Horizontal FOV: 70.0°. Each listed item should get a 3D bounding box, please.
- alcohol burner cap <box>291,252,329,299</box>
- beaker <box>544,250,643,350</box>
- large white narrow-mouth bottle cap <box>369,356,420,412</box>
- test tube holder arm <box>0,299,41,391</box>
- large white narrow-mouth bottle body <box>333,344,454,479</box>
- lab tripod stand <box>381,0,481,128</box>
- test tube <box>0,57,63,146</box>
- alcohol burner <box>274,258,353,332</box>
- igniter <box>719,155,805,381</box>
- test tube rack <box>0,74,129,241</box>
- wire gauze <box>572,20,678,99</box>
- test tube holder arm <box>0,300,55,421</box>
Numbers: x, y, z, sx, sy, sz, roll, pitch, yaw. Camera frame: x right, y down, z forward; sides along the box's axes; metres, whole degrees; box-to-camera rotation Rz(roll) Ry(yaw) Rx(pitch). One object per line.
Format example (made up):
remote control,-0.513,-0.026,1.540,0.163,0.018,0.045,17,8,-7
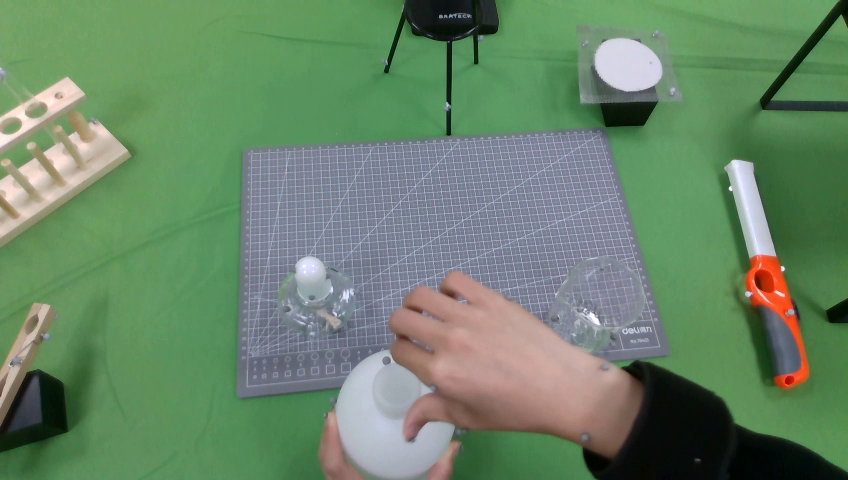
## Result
alcohol burner cap,-0.107,0.031,0.560,0.034,0.048,0.033,0,59,0
beaker,0.162,0.065,0.609,0.084,0.101,0.073,-3,64,-4
large white narrow-mouth bottle cap,-0.022,0.102,0.431,0.038,0.024,0.037,1,64,-3
test tube holder arm,-0.371,0.096,0.556,0.010,0.015,0.087,6,64,6
large white narrow-mouth bottle body,-0.026,0.143,0.510,0.102,0.196,0.101,1,63,-2
lab tripod stand,0.018,-0.231,0.728,0.148,0.132,0.147,2,65,-4
test tube,-0.414,-0.146,0.630,0.017,0.151,0.017,0,62,0
alcohol burner,-0.109,0.046,0.593,0.078,0.120,0.077,2,62,-4
igniter,0.380,0.023,0.687,0.057,0.025,0.274,6,64,-13
test tube rack,-0.451,-0.065,0.643,0.066,0.086,0.242,41,68,15
wire gauze,0.247,-0.225,0.755,0.121,0.011,0.124,3,64,-2
test tube holder arm,-0.373,0.137,0.536,0.013,0.015,0.177,7,65,7
